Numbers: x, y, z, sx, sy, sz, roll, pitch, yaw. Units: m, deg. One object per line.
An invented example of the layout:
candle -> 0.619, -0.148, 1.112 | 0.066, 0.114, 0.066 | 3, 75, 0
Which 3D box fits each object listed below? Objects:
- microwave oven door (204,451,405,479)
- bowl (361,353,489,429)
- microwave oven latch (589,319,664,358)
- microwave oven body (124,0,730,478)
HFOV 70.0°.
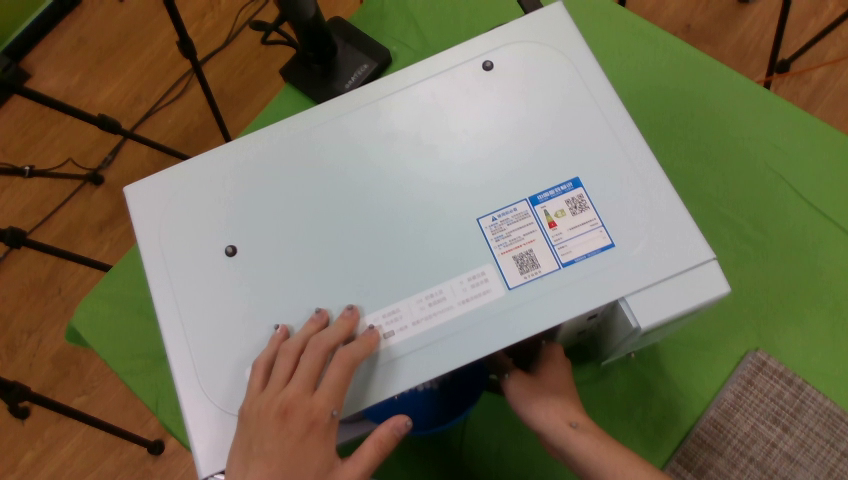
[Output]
microwave oven door -> 0.015, 0.257, 0.539 | 0.355, 0.245, 0.039 | 12, 75, 10
bowl -> -0.013, 0.114, 0.618 | 0.151, 0.077, 0.150 | 1, 75, -2
microwave oven latch -> 0.224, 0.103, 0.670 | 0.079, 0.030, 0.030 | -22, 72, 1
microwave oven body -> -0.006, 0.016, 0.624 | 0.442, 0.262, 0.323 | -24, 72, 0
